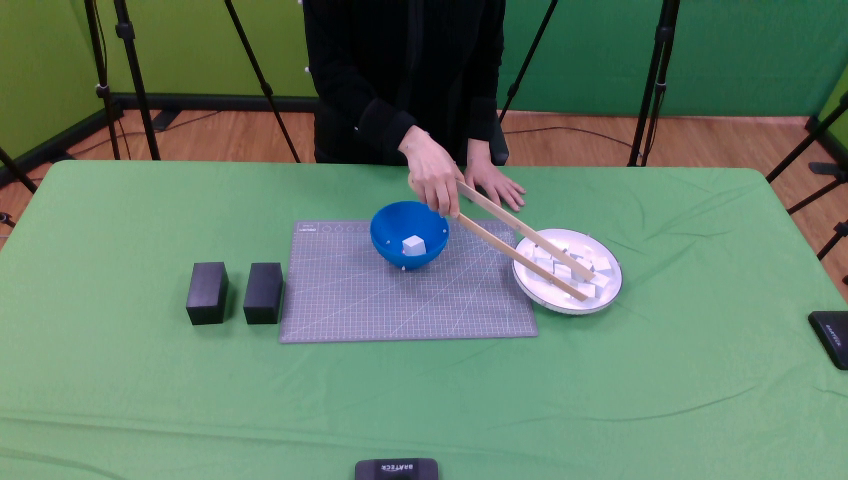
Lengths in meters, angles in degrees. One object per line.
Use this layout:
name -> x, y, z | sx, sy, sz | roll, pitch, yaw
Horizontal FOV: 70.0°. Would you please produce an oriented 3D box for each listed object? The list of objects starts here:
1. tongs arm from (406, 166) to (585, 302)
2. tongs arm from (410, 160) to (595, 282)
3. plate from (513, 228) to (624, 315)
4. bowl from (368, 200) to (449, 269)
tongs arm -> 0.123, -0.007, 1.076 | 0.387, 0.028, 0.028 | 35, 61, 1
tongs arm -> 0.139, -0.030, 1.094 | 0.384, 0.026, 0.050 | 37, 58, 2
plate -> 0.268, 0.063, 1.146 | 0.208, 0.039, 0.206 | 3, 46, -3
bowl -> -0.030, 0.002, 1.151 | 0.151, 0.077, 0.150 | 2, 46, -2
